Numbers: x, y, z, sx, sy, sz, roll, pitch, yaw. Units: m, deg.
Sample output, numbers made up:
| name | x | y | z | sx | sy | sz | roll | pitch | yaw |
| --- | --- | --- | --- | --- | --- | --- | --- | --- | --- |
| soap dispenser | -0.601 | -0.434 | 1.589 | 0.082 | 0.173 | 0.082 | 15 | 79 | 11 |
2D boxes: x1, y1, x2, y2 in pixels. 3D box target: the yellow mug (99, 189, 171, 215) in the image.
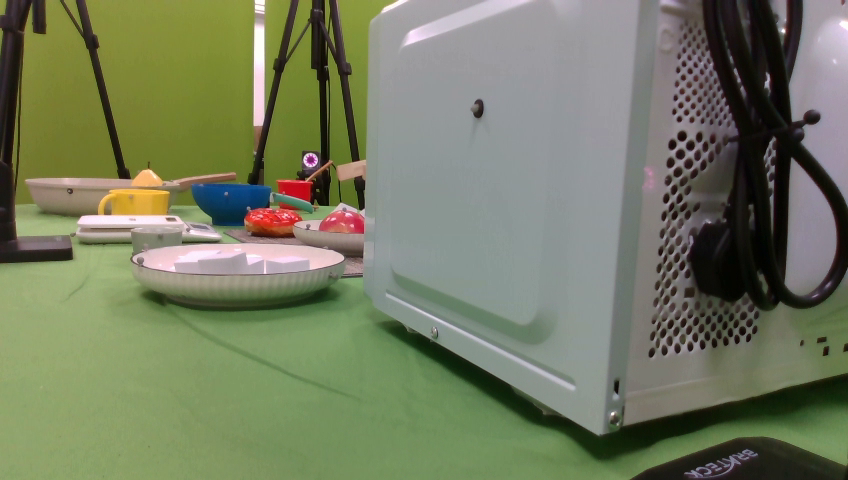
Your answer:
| name | x | y | z | sx | sy | sz | roll | pitch | yaw |
| --- | --- | --- | --- | --- | --- | --- | --- | --- | --- |
| yellow mug | -0.519 | -0.055 | 1.080 | 0.099 | 0.064 | 0.131 | 7 | 9 | 26 |

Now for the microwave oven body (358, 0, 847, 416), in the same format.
| name | x | y | z | sx | sy | sz | roll | pitch | yaw |
| --- | --- | --- | --- | --- | --- | --- | --- | --- | --- |
| microwave oven body | 0.211 | -0.047 | 0.475 | 0.444 | 0.260 | 0.324 | -1 | 7 | -28 |

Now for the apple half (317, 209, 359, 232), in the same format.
| name | x | y | z | sx | sy | sz | roll | pitch | yaw |
| --- | --- | --- | --- | --- | --- | --- | --- | --- | --- |
| apple half | -0.122 | -0.020 | 0.900 | 0.080 | 0.053 | 0.075 | 3 | 10 | 14 |

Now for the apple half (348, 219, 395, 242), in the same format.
| name | x | y | z | sx | sy | sz | roll | pitch | yaw |
| --- | --- | --- | --- | --- | --- | --- | --- | --- | --- |
| apple half | -0.083 | -0.018 | 0.967 | 0.081 | 0.033 | 0.081 | 6 | 9 | -1 |

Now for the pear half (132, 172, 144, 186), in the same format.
| name | x | y | z | sx | sy | sz | roll | pitch | yaw |
| --- | --- | --- | --- | --- | --- | --- | --- | --- | --- |
| pear half | -0.638 | -0.113 | 1.361 | 0.031 | 0.088 | 0.070 | 5 | 11 | 4 |

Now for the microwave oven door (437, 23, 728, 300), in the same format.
| name | x | y | z | sx | sy | sz | roll | pitch | yaw |
| --- | --- | --- | --- | --- | --- | --- | --- | --- | --- |
| microwave oven door | 0.181 | -0.072 | 0.621 | 0.358 | 0.243 | 0.039 | -2 | 8 | -29 |

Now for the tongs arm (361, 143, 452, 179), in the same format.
| name | x | y | z | sx | sy | sz | roll | pitch | yaw |
| --- | --- | --- | --- | --- | --- | --- | --- | --- | --- |
| tongs arm | -0.028 | -0.151 | 1.124 | 0.050 | 0.026 | 0.386 | -5 | 11 | 29 |

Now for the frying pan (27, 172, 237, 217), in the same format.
| name | x | y | z | sx | sy | sz | roll | pitch | yaw |
| --- | --- | --- | --- | --- | --- | --- | --- | --- | --- |
| frying pan | -0.624 | -0.118 | 1.387 | 0.305 | 0.102 | 0.490 | 8 | 17 | 32 |

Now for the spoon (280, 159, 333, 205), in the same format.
| name | x | y | z | sx | sy | sz | roll | pitch | yaw |
| --- | --- | --- | --- | --- | --- | --- | --- | --- | --- |
| spoon | -0.317 | -0.159 | 1.640 | 0.194 | 0.022 | 0.041 | -49 | 32 | -20 |

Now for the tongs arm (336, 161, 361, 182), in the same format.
| name | x | y | z | sx | sy | sz | roll | pitch | yaw |
| --- | --- | --- | --- | --- | --- | --- | --- | --- | --- |
| tongs arm | -0.055 | -0.149 | 1.136 | 0.028 | 0.028 | 0.389 | -9 | 9 | 27 |

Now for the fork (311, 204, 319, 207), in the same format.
| name | x | y | z | sx | sy | sz | roll | pitch | yaw |
| --- | --- | --- | --- | --- | --- | --- | --- | --- | --- |
| fork | -0.356 | -0.105 | 1.526 | 0.208 | 0.018 | 0.028 | 16 | -6 | -41 |

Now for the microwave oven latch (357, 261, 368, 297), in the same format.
| name | x | y | z | sx | sy | sz | roll | pitch | yaw |
| --- | --- | --- | --- | --- | --- | --- | --- | --- | --- |
| microwave oven latch | -0.019 | 0.033 | 0.531 | 0.079 | 0.029 | 0.030 | -1 | 7 | -27 |

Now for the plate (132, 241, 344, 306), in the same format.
| name | x | y | z | sx | sy | sz | roll | pitch | yaw |
| --- | --- | --- | --- | --- | --- | --- | --- | --- | --- |
| plate | -0.187 | 0.033 | 0.625 | 0.208 | 0.039 | 0.207 | 2 | 8 | 0 |

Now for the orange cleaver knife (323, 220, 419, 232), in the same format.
| name | x | y | z | sx | sy | sz | roll | pitch | yaw |
| --- | --- | --- | --- | --- | --- | --- | --- | --- | --- |
| orange cleaver knife | -0.096 | -0.027 | 1.152 | 0.077 | 0.012 | 0.212 | 2 | 6 | 41 |

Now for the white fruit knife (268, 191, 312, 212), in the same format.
| name | x | y | z | sx | sy | sz | roll | pitch | yaw |
| --- | --- | --- | --- | --- | --- | --- | --- | --- | --- |
| white fruit knife | -0.364 | -0.105 | 1.464 | 0.208 | 0.027 | 0.016 | 15 | 0 | -34 |

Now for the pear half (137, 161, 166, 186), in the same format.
| name | x | y | z | sx | sy | sz | roll | pitch | yaw |
| --- | --- | --- | --- | --- | --- | --- | --- | --- | --- |
| pear half | -0.602 | -0.120 | 1.354 | 0.056 | 0.110 | 0.076 | 4 | 11 | 6 |

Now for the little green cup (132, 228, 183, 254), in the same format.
| name | x | y | z | sx | sy | sz | roll | pitch | yaw |
| --- | --- | --- | --- | --- | --- | --- | --- | --- | --- |
| little green cup | -0.342 | 0.006 | 0.779 | 0.061 | 0.038 | 0.061 | 2 | 8 | 0 |

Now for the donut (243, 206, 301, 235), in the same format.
| name | x | y | z | sx | sy | sz | roll | pitch | yaw |
| --- | --- | --- | --- | --- | --- | --- | --- | --- | --- |
| donut | -0.261 | -0.032 | 1.043 | 0.099 | 0.048 | 0.099 | 4 | 9 | 0 |

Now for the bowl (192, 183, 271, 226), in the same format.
| name | x | y | z | sx | sy | sz | roll | pitch | yaw |
| --- | --- | --- | --- | --- | --- | --- | --- | --- | --- |
| bowl | -0.382 | -0.071 | 1.202 | 0.151 | 0.077 | 0.151 | 3 | 7 | 0 |

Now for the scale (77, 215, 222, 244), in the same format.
| name | x | y | z | sx | sy | sz | roll | pitch | yaw |
| --- | --- | --- | --- | --- | --- | --- | --- | --- | --- |
| scale | -0.434 | -0.019 | 0.963 | 0.202 | 0.031 | 0.148 | -1 | 9 | -27 |

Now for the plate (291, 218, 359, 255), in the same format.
| name | x | y | z | sx | sy | sz | roll | pitch | yaw |
| --- | --- | --- | --- | --- | --- | --- | --- | --- | --- |
| plate | -0.098 | -0.007 | 0.928 | 0.209 | 0.038 | 0.209 | 2 | 8 | 0 |
